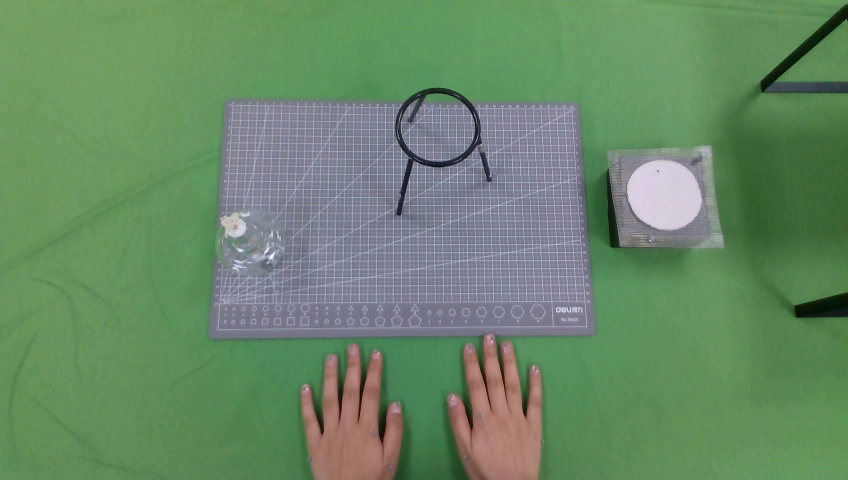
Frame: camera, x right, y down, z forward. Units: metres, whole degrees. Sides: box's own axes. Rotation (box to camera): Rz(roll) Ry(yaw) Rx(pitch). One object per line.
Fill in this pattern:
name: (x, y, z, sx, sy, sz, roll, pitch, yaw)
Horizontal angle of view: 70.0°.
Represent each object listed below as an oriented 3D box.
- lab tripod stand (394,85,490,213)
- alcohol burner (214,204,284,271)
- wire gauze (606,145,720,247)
lab tripod stand: (0.009, -0.107, 0.690, 0.148, 0.132, 0.147, 0, 76, 0)
alcohol burner: (-0.196, -0.006, 0.666, 0.078, 0.119, 0.077, 1, 78, -2)
wire gauze: (0.279, -0.052, 0.706, 0.125, 0.011, 0.121, -1, 79, -2)
